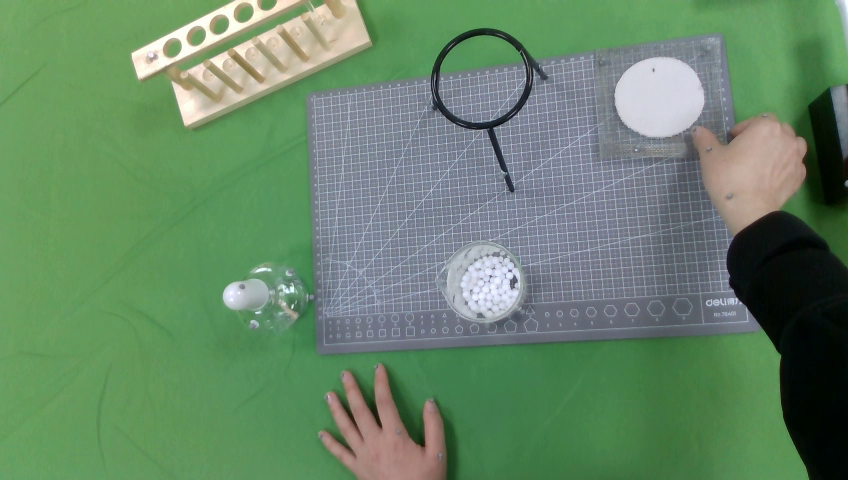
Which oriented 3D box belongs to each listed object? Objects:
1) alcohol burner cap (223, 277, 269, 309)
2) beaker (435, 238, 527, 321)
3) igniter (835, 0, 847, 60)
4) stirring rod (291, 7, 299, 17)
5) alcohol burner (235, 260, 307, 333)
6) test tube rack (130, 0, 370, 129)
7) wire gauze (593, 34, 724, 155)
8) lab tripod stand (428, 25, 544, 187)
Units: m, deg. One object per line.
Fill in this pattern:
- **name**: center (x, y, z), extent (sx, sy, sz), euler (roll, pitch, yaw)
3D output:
- **alcohol burner cap**: center (-0.178, 0.053, 0.595), extent (0.034, 0.048, 0.034), euler (-1, 87, 11)
- **beaker**: center (0.060, 0.041, 0.587), extent (0.084, 0.101, 0.074), euler (1, 83, 13)
- **igniter**: center (0.393, -0.092, 0.520), extent (0.057, 0.025, 0.275), euler (-6, 80, 14)
- **stirring rod**: center (-0.156, -0.276, 0.596), extent (0.006, 0.177, 0.014), euler (-20, 74, 4)
- **alcohol burner**: center (-0.169, 0.057, 0.630), extent (0.078, 0.120, 0.077), euler (-2, 81, 12)
- **test tube rack**: center (-0.191, -0.213, 0.677), extent (0.242, 0.085, 0.066), euler (-22, 79, 9)
- **wire gauze**: center (0.237, -0.145, 0.614), extent (0.125, 0.011, 0.121), euler (-1, 84, 10)
- **lab tripod stand**: center (0.063, -0.133, 0.586), extent (0.148, 0.132, 0.148), euler (-1, 85, 10)
